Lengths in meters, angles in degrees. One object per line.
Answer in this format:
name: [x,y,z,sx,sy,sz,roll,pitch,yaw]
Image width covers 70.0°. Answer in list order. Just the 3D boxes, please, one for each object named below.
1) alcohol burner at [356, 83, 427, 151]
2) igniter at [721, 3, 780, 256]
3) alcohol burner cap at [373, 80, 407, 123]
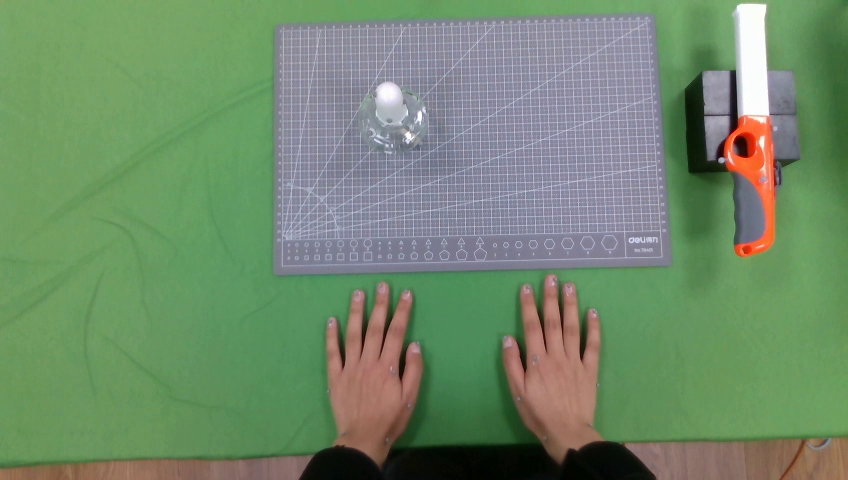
alcohol burner: [-0.036,-0.138,0.650,0.078,0.119,0.077,0,82,0]
igniter: [0.344,-0.119,0.641,0.057,0.025,0.275,3,81,4]
alcohol burner cap: [-0.036,-0.143,0.615,0.034,0.048,0.033,-1,76,3]
